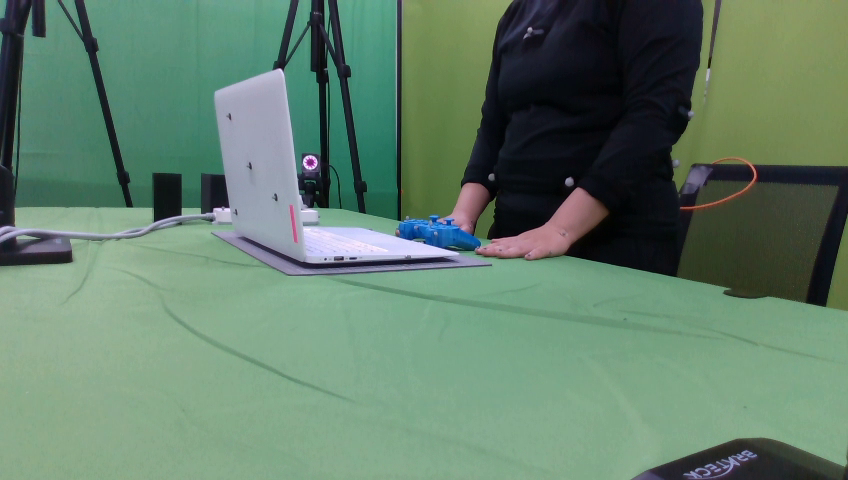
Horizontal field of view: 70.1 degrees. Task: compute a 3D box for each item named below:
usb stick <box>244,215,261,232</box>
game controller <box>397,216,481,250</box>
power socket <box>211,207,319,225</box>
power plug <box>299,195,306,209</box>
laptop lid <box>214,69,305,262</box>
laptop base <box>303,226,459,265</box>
[{"bbox_3d":[-0.302,-0.028,1.070,0.021,0.027,0.059,-2,12,-30],"label":"usb stick"},{"bbox_3d":[0.021,-0.013,1.053,0.097,0.051,0.154,-4,9,-30],"label":"game controller"},{"bbox_3d":[-0.334,-0.051,1.281,0.228,0.032,0.072,-1,9,-29],"label":"power socket"},{"bbox_3d":[-0.282,-0.075,1.342,0.035,0.052,0.072,0,3,-18],"label":"power plug"},{"bbox_3d":[-0.246,-0.107,0.866,0.013,0.241,0.355,-11,14,-30],"label":"laptop lid"},{"bbox_3d":[-0.136,0.007,0.951,0.237,0.023,0.352,2,6,-32],"label":"laptop base"}]
